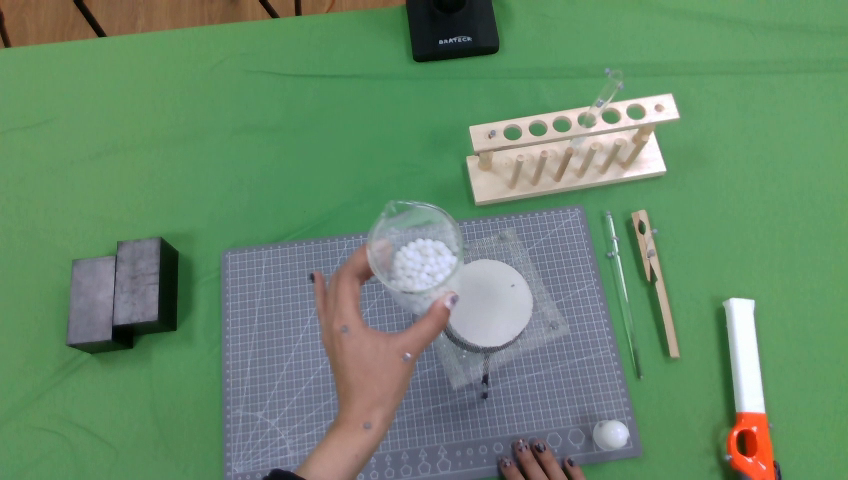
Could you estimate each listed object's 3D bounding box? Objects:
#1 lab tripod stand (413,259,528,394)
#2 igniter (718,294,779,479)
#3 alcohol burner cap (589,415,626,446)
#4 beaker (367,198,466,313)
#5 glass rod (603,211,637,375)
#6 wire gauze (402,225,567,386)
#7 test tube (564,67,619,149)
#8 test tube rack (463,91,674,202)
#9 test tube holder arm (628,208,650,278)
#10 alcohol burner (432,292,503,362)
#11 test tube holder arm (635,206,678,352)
[{"bbox_3d":[0.052,0.083,0.641,0.148,0.132,0.147,-1,71,3],"label":"lab tripod stand"},{"bbox_3d":[0.349,0.194,0.656,0.057,0.025,0.274,7,70,-7],"label":"igniter"},{"bbox_3d":[0.197,0.201,0.645,0.034,0.048,0.033,0,69,1],"label":"alcohol burner cap"},{"bbox_3d":[-0.004,0.016,0.504,0.074,0.101,0.083,-26,71,-4],"label":"beaker"},{"bbox_3d":[0.232,0.059,0.716,0.008,0.008,0.198,-4,73,-1],"label":"glass rod"},{"bbox_3d":[0.056,0.057,0.578,0.121,0.011,0.124,-23,71,-6],"label":"wire gauze"},{"bbox_3d":[0.190,-0.147,0.698,0.017,0.151,0.017,2,68,-4],"label":"test tube"},{"bbox_3d":[0.174,-0.112,0.738,0.242,0.086,0.066,-10,70,-2],"label":"test tube rack"},{"bbox_3d":[0.262,0.003,0.731,0.010,0.015,0.087,-19,68,30],"label":"test tube holder arm"},{"bbox_3d":[0.047,0.089,0.649,0.078,0.120,0.077,-1,68,2],"label":"alcohol burner"},{"bbox_3d":[0.273,0.044,0.714,0.013,0.015,0.177,-20,68,29],"label":"test tube holder arm"}]
